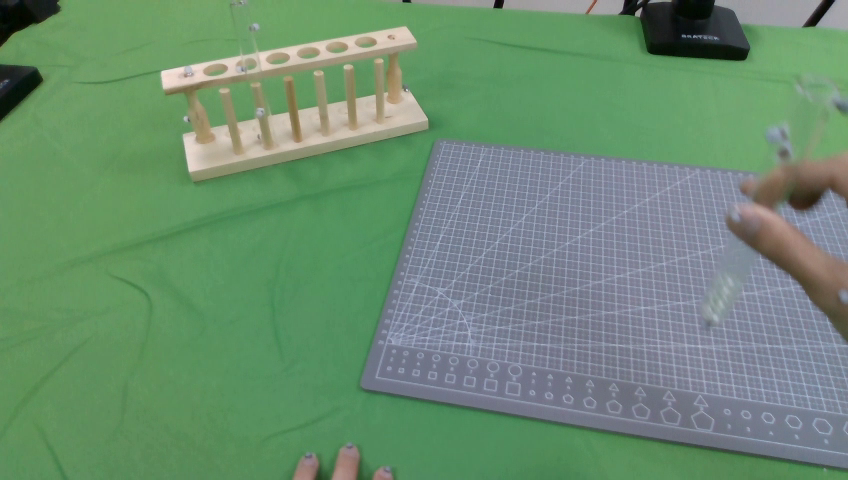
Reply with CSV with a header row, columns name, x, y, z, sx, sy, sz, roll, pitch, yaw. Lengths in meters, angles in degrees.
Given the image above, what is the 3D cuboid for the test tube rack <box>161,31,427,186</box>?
name,x,y,z,sx,sy,sz,roll,pitch,yaw
test tube rack,-0.122,-0.134,0.606,0.243,0.086,0.066,-16,48,-14

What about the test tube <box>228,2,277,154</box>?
name,x,y,z,sx,sy,sz,roll,pitch,yaw
test tube,-0.155,-0.142,0.552,0.017,0.152,0.017,0,45,0

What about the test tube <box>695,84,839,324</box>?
name,x,y,z,sx,sy,sz,roll,pitch,yaw
test tube,0.158,-0.007,0.291,0.017,0.151,0.017,-2,47,2
